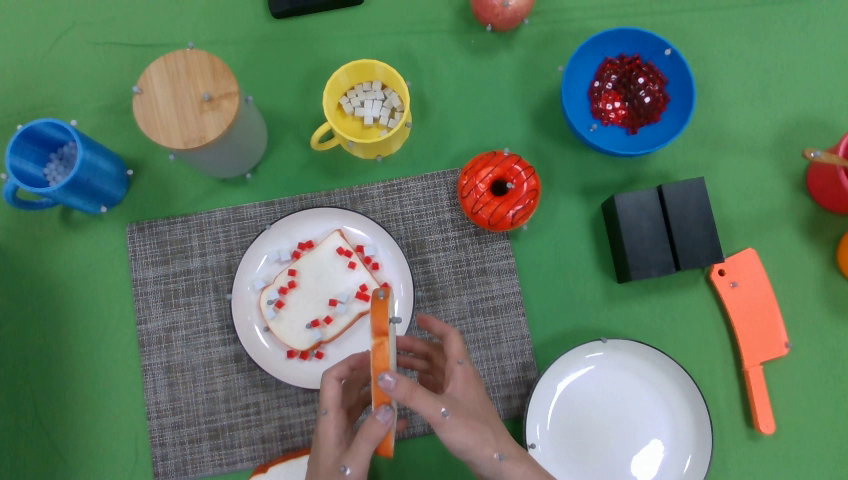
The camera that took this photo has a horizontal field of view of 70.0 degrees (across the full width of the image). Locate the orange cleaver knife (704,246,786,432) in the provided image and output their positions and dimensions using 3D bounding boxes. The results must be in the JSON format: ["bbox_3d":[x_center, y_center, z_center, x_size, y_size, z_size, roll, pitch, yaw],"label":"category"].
[{"bbox_3d":[0.382,0.112,0.703,0.077,0.012,0.210,-9,80,-8],"label":"orange cleaver knife"}]

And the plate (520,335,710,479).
[{"bbox_3d":[0.209,0.211,0.678,0.209,0.038,0.208,0,81,0],"label":"plate"}]

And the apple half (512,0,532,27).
[{"bbox_3d":[0.101,-0.304,0.737,0.053,0.075,0.080,-42,80,-12],"label":"apple half"}]

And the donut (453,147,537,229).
[{"bbox_3d":[0.083,-0.061,0.711,0.099,0.048,0.098,0,82,-1],"label":"donut"}]

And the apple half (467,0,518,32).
[{"bbox_3d":[0.074,-0.277,0.731,0.033,0.081,0.081,-43,83,-11],"label":"apple half"}]

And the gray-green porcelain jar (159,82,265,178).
[{"bbox_3d":[-0.243,-0.131,0.683,0.106,0.127,0.105,0,81,0],"label":"gray-green porcelain jar"}]

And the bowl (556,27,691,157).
[{"bbox_3d":[0.224,-0.162,0.714,0.151,0.077,0.151,0,82,0],"label":"bowl"}]

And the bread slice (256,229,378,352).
[{"bbox_3d":[-0.124,0.065,0.696,0.131,0.019,0.104,-37,83,-5],"label":"bread slice"}]

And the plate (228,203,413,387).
[{"bbox_3d":[-0.115,0.062,0.696,0.208,0.039,0.207,0,81,0],"label":"plate"}]

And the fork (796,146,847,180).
[{"bbox_3d":[0.455,-0.084,0.668,0.209,0.018,0.028,4,79,-41],"label":"fork"}]

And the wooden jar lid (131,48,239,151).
[{"bbox_3d":[-0.243,-0.142,0.622,0.108,0.021,0.108,0,80,1],"label":"wooden jar lid"}]

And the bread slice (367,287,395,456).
[{"bbox_3d":[-0.037,0.110,0.544,0.018,0.106,0.135,-2,103,-1],"label":"bread slice"}]

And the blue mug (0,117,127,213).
[{"bbox_3d":[-0.415,-0.072,0.684,0.116,0.106,0.082,-35,82,-5],"label":"blue mug"}]

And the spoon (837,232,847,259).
[{"bbox_3d":[0.556,0.025,0.652,0.022,0.192,0.041,35,79,-40],"label":"spoon"}]

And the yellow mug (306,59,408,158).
[{"bbox_3d":[-0.082,-0.145,0.717,0.131,0.064,0.099,-34,83,-4],"label":"yellow mug"}]
